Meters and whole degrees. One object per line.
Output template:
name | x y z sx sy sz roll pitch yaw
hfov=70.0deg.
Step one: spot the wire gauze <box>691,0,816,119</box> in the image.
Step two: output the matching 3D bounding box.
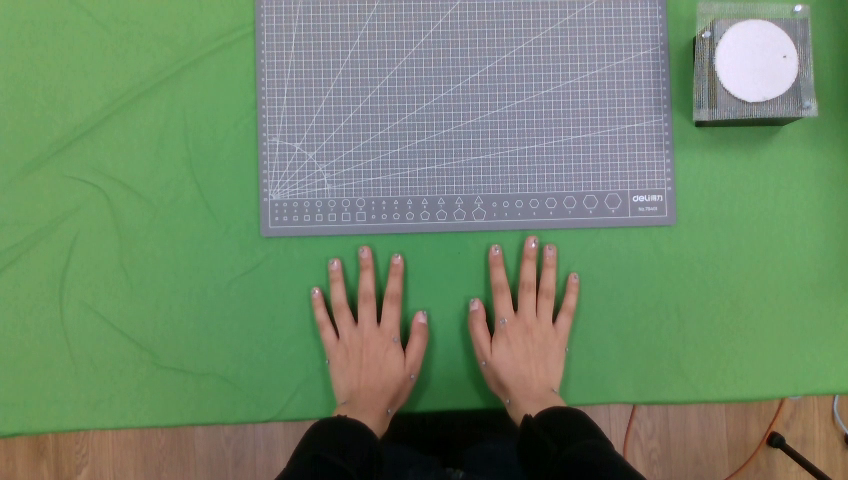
wire gauze | 0.335 -0.185 0.618 0.121 0.011 0.125 1 87 2
